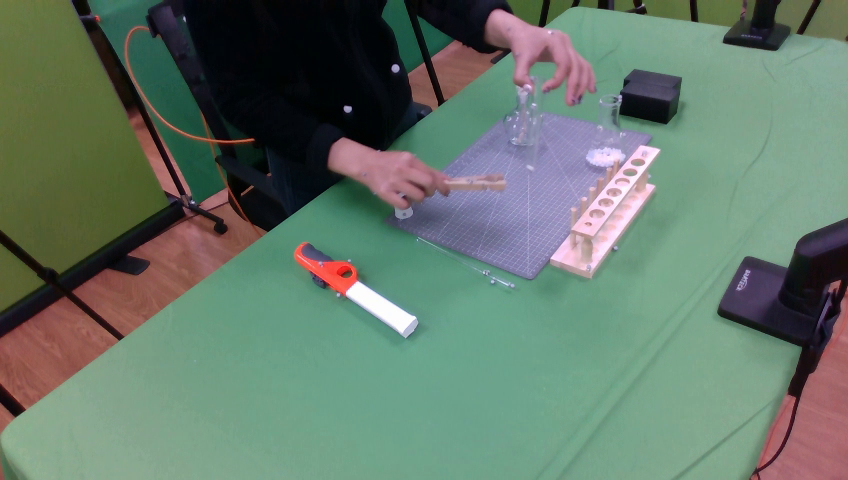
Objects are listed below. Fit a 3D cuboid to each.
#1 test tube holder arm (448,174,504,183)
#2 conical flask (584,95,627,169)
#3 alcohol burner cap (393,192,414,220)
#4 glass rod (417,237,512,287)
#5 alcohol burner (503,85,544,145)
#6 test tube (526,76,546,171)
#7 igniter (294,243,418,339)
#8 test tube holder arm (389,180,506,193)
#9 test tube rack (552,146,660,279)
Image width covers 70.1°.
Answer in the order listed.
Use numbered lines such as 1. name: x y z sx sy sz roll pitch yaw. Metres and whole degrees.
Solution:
1. test tube holder arm: 0.079 -0.089 0.926 0.088 0.015 0.010 -8 41 -17
2. conical flask: 0.324 -0.192 1.066 0.075 0.122 0.075 -6 40 5
3. alcohol burner cap: -0.038 -0.062 1.044 0.034 0.048 0.033 -6 42 6
4. glass rod: 0.059 0.032 0.945 0.198 0.008 0.008 27 52 38
5. alcohol burner: 0.191 -0.243 1.160 0.078 0.119 0.077 -4 40 4
6. test tube: 0.159 -0.162 0.864 0.017 0.151 0.017 -1 41 1
7. igniter: -0.114 0.070 0.919 0.274 0.025 0.057 29 63 37
8. test tube holder arm: 0.037 -0.081 0.911 0.179 0.015 0.013 -3 39 -12
9. test tube rack: 0.286 -0.053 0.943 0.066 0.085 0.243 21 49 32
